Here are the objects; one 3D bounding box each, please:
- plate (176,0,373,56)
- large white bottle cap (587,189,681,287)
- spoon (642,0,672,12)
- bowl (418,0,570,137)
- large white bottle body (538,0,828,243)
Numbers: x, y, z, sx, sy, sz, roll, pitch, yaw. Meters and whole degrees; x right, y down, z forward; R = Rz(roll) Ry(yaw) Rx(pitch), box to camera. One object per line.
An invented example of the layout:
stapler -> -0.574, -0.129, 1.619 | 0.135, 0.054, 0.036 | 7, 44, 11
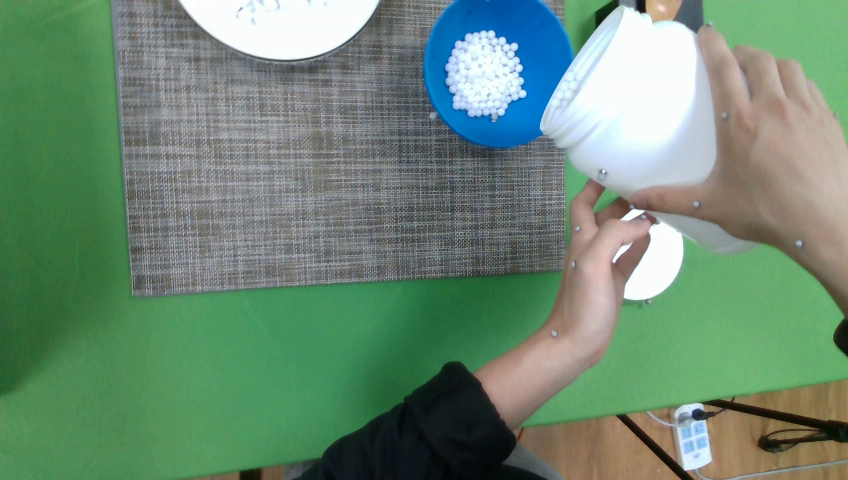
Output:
plate -> -0.143, -0.275, 0.572 | 0.210, 0.038, 0.209 | 0, 91, -13
large white bottle cap -> 0.242, -0.002, 0.696 | 0.115, 0.018, 0.115 | -1, 95, -14
spoon -> 0.229, -0.194, 0.631 | 0.042, 0.021, 0.194 | 9, 97, -16
bowl -> 0.061, -0.175, 0.606 | 0.152, 0.076, 0.151 | -1, 94, -13
large white bottle body -> 0.196, -0.095, 0.479 | 0.185, 0.130, 0.130 | 30, 87, -8
